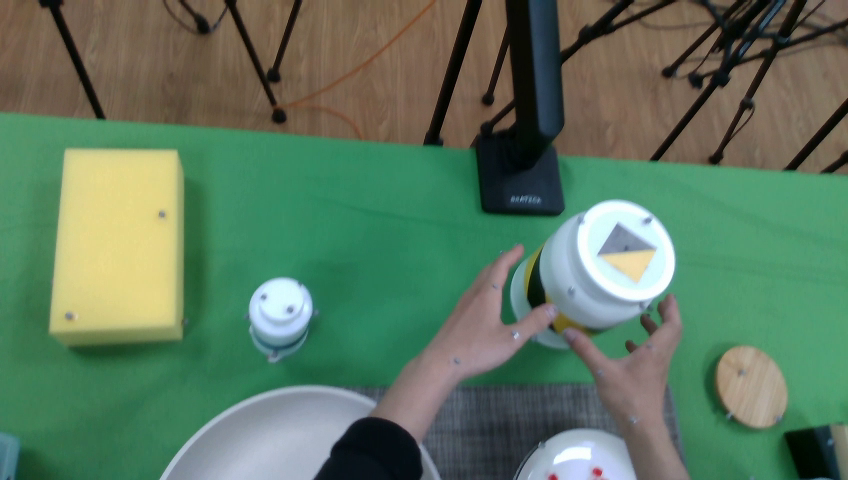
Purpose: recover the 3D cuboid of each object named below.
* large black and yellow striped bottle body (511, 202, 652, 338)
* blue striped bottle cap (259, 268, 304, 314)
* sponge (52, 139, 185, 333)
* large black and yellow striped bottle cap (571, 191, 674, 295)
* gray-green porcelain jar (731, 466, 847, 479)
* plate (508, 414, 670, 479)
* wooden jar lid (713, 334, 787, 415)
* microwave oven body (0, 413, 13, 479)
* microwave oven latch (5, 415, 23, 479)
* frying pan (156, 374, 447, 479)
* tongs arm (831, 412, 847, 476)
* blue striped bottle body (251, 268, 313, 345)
[{"bbox_3d":[0.193,0.034,0.724,0.131,0.184,0.130,5,67,-12],"label":"large black and yellow striped bottle body"},{"bbox_3d":[-0.142,0.051,0.607,0.045,0.021,0.044,5,69,-13],"label":"blue striped bottle cap"},{"bbox_3d":[-0.331,-0.006,0.670,0.118,0.061,0.205,-3,70,-16],"label":"sponge"},{"bbox_3d":[0.213,0.002,0.648,0.115,0.019,0.114,5,69,-12],"label":"large black and yellow striped bottle cap"},{"bbox_3d":[0.423,0.319,0.702,0.106,0.127,0.105,5,67,-12],"label":"gray-green porcelain jar"},{"bbox_3d":[0.188,0.307,0.691,0.210,0.038,0.207,5,68,-12],"label":"plate"},{"bbox_3d":[0.437,0.182,0.819,0.109,0.021,0.107,5,69,-12],"label":"wooden jar lid"},{"bbox_3d":[-0.511,0.326,0.377,0.327,0.261,0.438,3,69,-14],"label":"microwave oven body"},{"bbox_3d":[-0.397,0.204,0.562,0.030,0.029,0.078,5,68,-13],"label":"microwave oven latch"},{"bbox_3d":[-0.109,0.373,0.551,0.308,0.103,0.483,1,60,-12],"label":"frying pan"},{"bbox_3d":[0.552,0.400,0.722,0.051,0.026,0.383,-3,80,-16],"label":"tongs arm"},{"bbox_3d":[-0.154,0.071,0.653,0.063,0.121,0.062,5,67,-12],"label":"blue striped bottle body"}]
